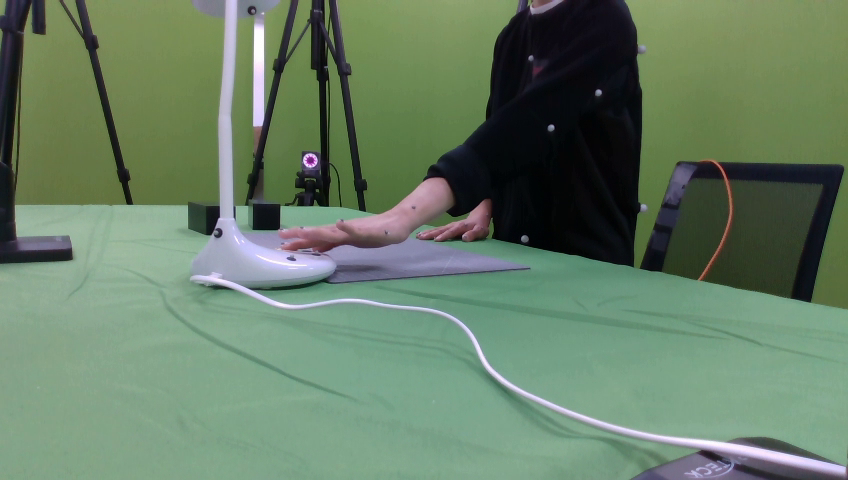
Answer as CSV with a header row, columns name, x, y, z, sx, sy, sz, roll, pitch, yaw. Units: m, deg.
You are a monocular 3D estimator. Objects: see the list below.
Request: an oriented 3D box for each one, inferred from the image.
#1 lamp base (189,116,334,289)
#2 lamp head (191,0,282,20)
name,x,y,z,sx,sy,sz,roll,pitch,yaw
lamp base,-0.185,-0.044,0.669,0.160,0.180,0.179,3,10,14
lamp head,-0.222,-0.330,0.690,0.112,0.112,0.123,3,-33,-4
